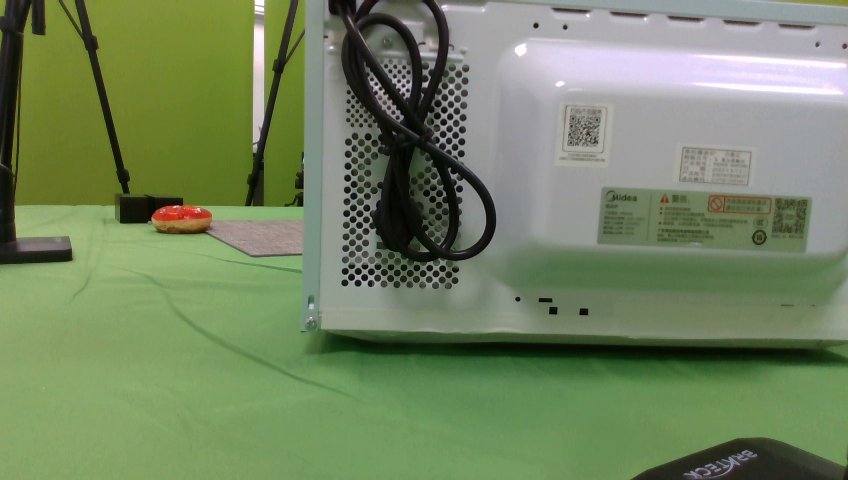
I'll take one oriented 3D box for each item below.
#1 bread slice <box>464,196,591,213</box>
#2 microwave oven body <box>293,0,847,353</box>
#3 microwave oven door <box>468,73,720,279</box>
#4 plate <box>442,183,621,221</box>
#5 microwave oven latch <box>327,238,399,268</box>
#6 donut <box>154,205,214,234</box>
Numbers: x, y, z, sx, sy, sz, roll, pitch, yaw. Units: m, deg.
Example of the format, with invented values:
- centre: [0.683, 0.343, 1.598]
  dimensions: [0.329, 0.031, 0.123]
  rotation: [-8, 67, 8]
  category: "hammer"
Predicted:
- centre: [0.129, -0.042, 0.712]
  dimensions: [0.105, 0.019, 0.131]
  rotation: [-3, 4, -38]
  category: "bread slice"
- centre: [0.122, -0.055, 0.550]
  dimensions: [0.442, 0.260, 0.325]
  rotation: [3, 7, -5]
  category: "microwave oven body"
- centre: [0.208, -0.093, 0.830]
  dimensions: [0.039, 0.243, 0.354]
  rotation: [-5, 10, -44]
  category: "microwave oven door"
- centre: [0.125, -0.045, 0.719]
  dimensions: [0.208, 0.039, 0.207]
  rotation: [2, 4, 0]
  category: "plate"
- centre: [-0.069, 0.015, 0.694]
  dimensions: [0.079, 0.029, 0.030]
  rotation: [3, 7, -3]
  category: "microwave oven latch"
- centre: [-0.426, -0.037, 1.075]
  dimensions: [0.099, 0.048, 0.099]
  rotation: [2, 12, 0]
  category: "donut"
